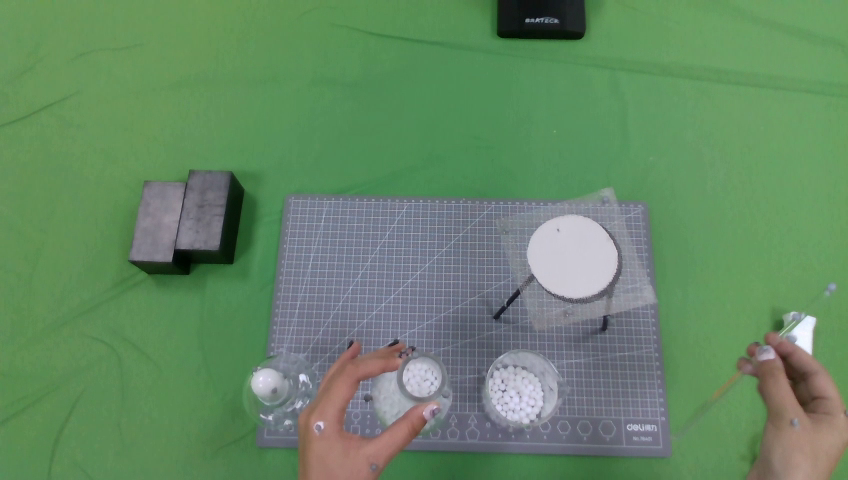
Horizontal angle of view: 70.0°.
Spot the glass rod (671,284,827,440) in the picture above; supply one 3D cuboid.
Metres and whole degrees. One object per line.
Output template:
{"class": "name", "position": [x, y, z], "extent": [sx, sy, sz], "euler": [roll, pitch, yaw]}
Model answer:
{"class": "glass rod", "position": [0.274, 0.112, 0.523], "extent": [0.008, 0.200, 0.008], "euler": [19, 32, -12]}

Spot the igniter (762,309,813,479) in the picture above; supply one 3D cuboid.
{"class": "igniter", "position": [0.392, 0.208, 0.650], "extent": [0.057, 0.025, 0.275], "euler": [16, 72, -5]}

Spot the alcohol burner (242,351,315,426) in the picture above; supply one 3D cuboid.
{"class": "alcohol burner", "position": [-0.153, 0.151, 0.625], "extent": [0.078, 0.120, 0.077], "euler": [0, 72, -1]}

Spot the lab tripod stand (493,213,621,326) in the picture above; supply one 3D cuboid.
{"class": "lab tripod stand", "position": [0.146, 0.039, 0.651], "extent": [0.148, 0.132, 0.147], "euler": [0, 72, 1]}

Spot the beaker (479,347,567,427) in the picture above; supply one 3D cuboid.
{"class": "beaker", "position": [0.097, 0.156, 0.629], "extent": [0.084, 0.101, 0.073], "euler": [0, 71, 0]}

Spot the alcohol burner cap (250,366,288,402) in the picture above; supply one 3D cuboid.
{"class": "alcohol burner cap", "position": [-0.153, 0.138, 0.591], "extent": [0.034, 0.048, 0.033], "euler": [2, 69, -4]}

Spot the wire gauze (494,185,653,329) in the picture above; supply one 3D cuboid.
{"class": "wire gauze", "position": [0.144, 0.016, 0.588], "extent": [0.125, 0.011, 0.120], "euler": [-15, 73, -3]}

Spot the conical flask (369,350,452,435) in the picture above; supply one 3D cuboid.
{"class": "conical flask", "position": [-0.008, 0.120, 0.503], "extent": [0.075, 0.122, 0.075], "euler": [2, 70, -5]}
